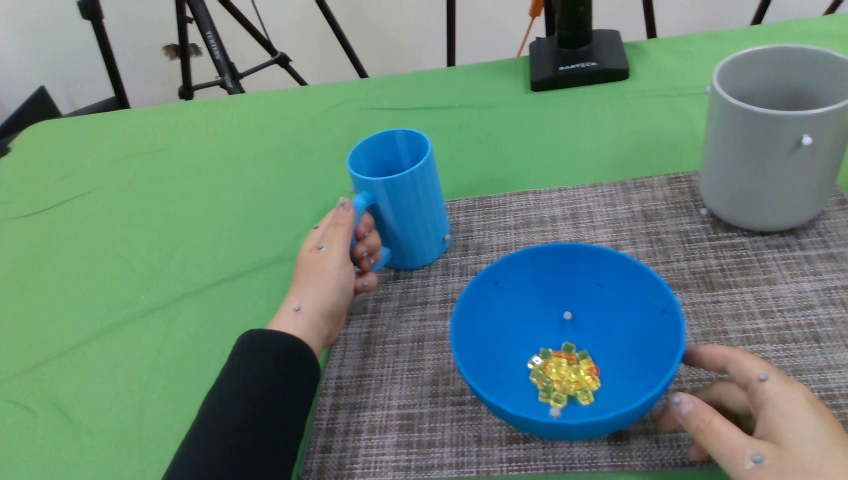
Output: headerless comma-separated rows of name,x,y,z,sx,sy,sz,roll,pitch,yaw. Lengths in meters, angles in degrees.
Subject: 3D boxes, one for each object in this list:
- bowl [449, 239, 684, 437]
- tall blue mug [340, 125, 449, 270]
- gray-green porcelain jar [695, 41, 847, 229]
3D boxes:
bowl,0.097,0.078,0.420,0.151,0.077,0.150,-8,42,8
tall blue mug,-0.025,-0.028,0.546,0.077,0.109,0.106,-2,44,12
gray-green porcelain jar,0.284,-0.081,0.501,0.106,0.128,0.105,-8,43,8
